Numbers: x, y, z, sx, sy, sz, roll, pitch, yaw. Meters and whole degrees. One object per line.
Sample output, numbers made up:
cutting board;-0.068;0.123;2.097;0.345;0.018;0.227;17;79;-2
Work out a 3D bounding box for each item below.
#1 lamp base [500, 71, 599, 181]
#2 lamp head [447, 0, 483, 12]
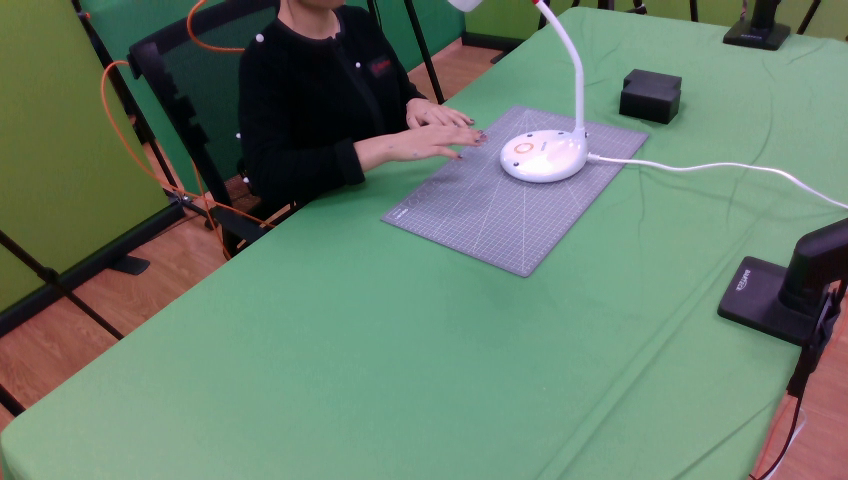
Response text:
lamp base;0.223;-0.217;1.068;0.179;0.181;0.160;2;42;10
lamp head;0.084;-0.422;0.915;0.122;0.113;0.112;-21;31;36
